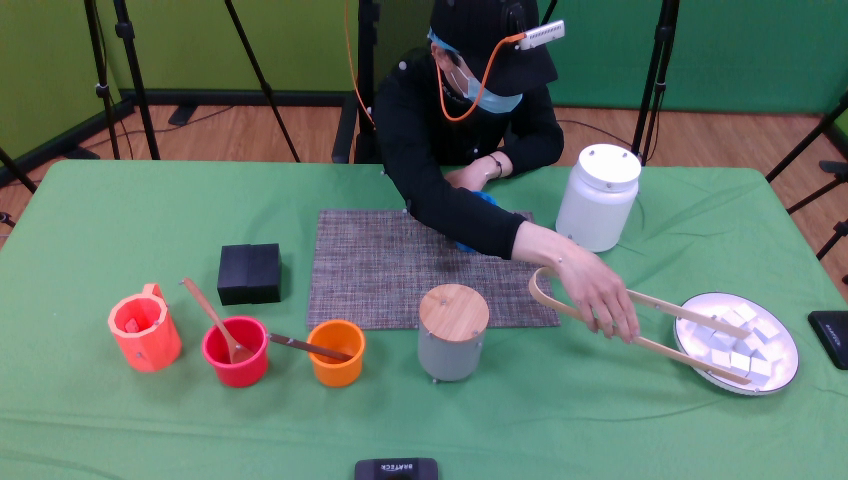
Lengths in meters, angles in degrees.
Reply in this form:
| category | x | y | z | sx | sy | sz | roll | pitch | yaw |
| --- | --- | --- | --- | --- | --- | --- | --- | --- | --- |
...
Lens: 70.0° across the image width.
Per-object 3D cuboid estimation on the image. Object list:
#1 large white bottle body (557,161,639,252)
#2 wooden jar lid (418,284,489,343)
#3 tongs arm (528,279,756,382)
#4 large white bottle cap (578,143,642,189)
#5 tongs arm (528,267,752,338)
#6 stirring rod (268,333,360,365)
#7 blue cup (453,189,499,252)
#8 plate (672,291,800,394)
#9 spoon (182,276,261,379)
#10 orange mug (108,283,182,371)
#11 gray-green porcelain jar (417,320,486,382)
| category | x | y | z | sx | sy | sz | roll | pitch | yaw |
| --- | --- | --- | --- | --- | --- | --- | --- | --- | --- |
| large white bottle body | 0.340 | -0.080 | 1.185 | 0.131 | 0.185 | 0.130 | 2 | 46 | -2 |
| wooden jar lid | 0.045 | 0.114 | 0.931 | 0.108 | 0.021 | 0.107 | 2 | 49 | -2 |
| tongs arm | 0.348 | 0.150 | 0.978 | 0.387 | 0.028 | 0.028 | 22 | 58 | 1 |
| large white bottle cap | 0.344 | -0.139 | 1.123 | 0.115 | 0.018 | 0.114 | 2 | 46 | -2 |
| tongs arm | 0.361 | 0.113 | 1.008 | 0.385 | 0.026 | 0.050 | 19 | 55 | -1 |
| stirring rod | -0.167 | 0.170 | 0.941 | 0.177 | 0.006 | 0.014 | 26 | 27 | -40 |
| blue cup | 0.094 | -0.032 | 1.173 | 0.093 | 0.100 | 0.092 | 4 | 46 | -4 |
| plate | 0.533 | 0.179 | 1.050 | 0.208 | 0.039 | 0.206 | 2 | 46 | -2 |
| spoon | -0.320 | 0.137 | 0.957 | 0.041 | 0.021 | 0.194 | -37 | 102 | -32 |
| orange mug | -0.445 | 0.134 | 0.982 | 0.083 | 0.101 | 0.125 | -1 | 50 | -5 |
| gray-green porcelain jar | 0.042 | 0.158 | 0.975 | 0.106 | 0.127 | 0.105 | 2 | 46 | -2 |
